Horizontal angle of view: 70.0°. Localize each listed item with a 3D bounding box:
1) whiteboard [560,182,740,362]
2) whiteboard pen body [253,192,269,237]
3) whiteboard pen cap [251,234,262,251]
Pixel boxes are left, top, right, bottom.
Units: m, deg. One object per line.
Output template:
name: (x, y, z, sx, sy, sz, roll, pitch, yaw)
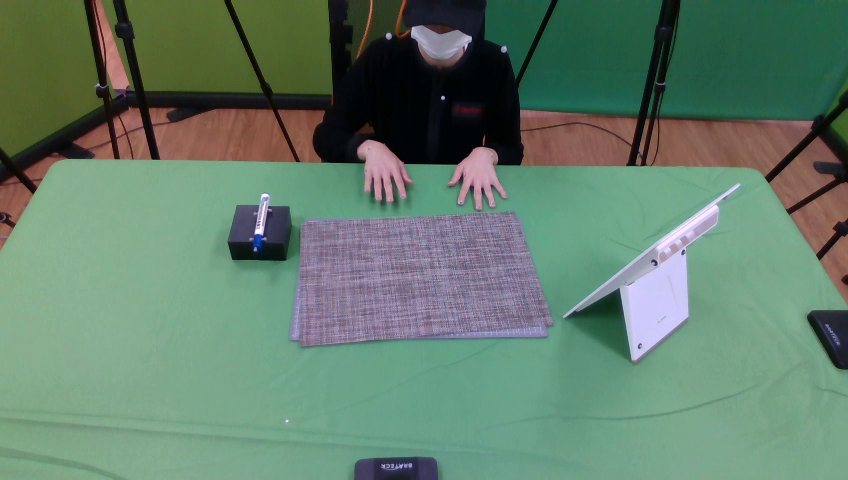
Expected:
whiteboard: (0.406, 0.075, 1.001, 0.217, 0.306, 0.143, -28, 73, -28)
whiteboard pen body: (-0.309, -0.040, 1.146, 0.017, 0.017, 0.140, 0, 46, -5)
whiteboard pen cap: (-0.305, 0.003, 1.103, 0.018, 0.018, 0.033, -2, 47, -6)
